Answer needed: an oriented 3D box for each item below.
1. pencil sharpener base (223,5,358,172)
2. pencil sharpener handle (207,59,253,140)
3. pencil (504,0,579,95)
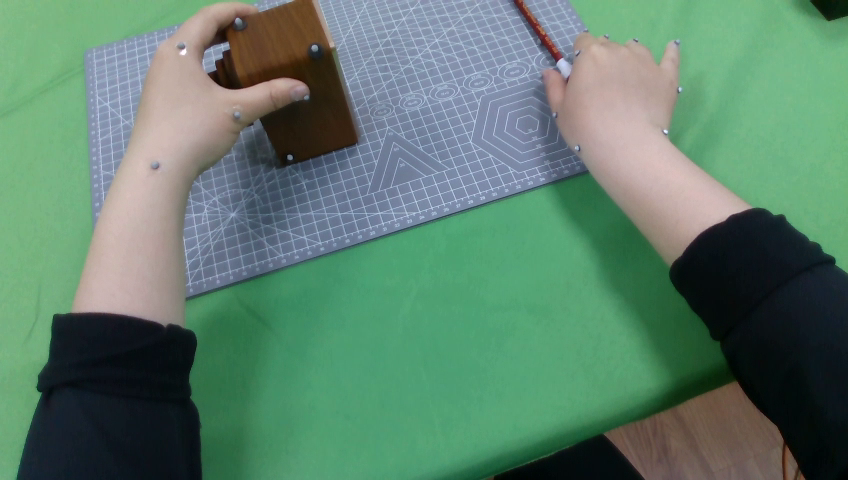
[{"bbox_3d":[-0.102,-0.113,0.471,0.077,0.108,0.061,-20,61,-6],"label":"pencil sharpener base"},{"bbox_3d":[-0.151,-0.102,0.456,0.030,0.068,0.035,-20,61,-5],"label":"pencil sharpener handle"},{"bbox_3d":[0.093,-0.200,0.559,0.012,0.012,0.192,-21,60,-6],"label":"pencil"}]
